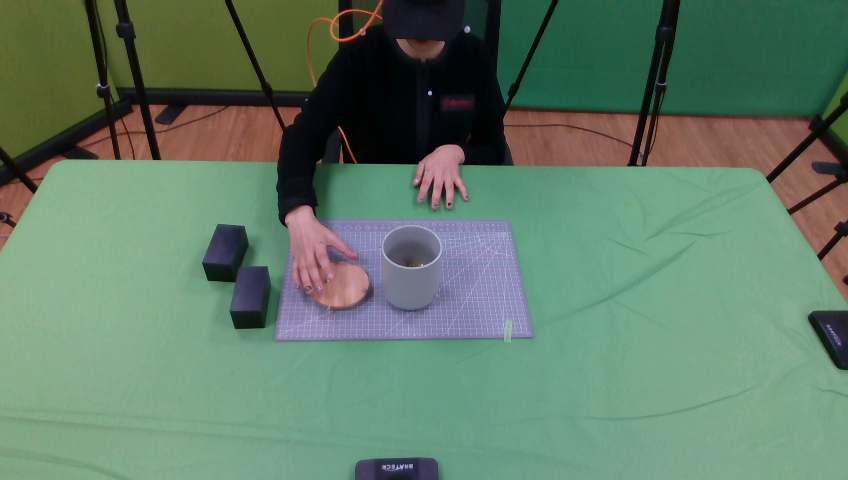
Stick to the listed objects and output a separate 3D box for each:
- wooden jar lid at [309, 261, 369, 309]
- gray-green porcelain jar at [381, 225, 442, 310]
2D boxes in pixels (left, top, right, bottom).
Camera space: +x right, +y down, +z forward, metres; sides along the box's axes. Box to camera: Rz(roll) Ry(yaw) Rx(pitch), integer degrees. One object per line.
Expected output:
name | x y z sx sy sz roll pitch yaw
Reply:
wooden jar lid | -0.155 0.084 1.104 0.108 0.021 0.107 2 47 -2
gray-green porcelain jar | -0.023 0.053 1.068 0.106 0.127 0.105 2 46 -2
